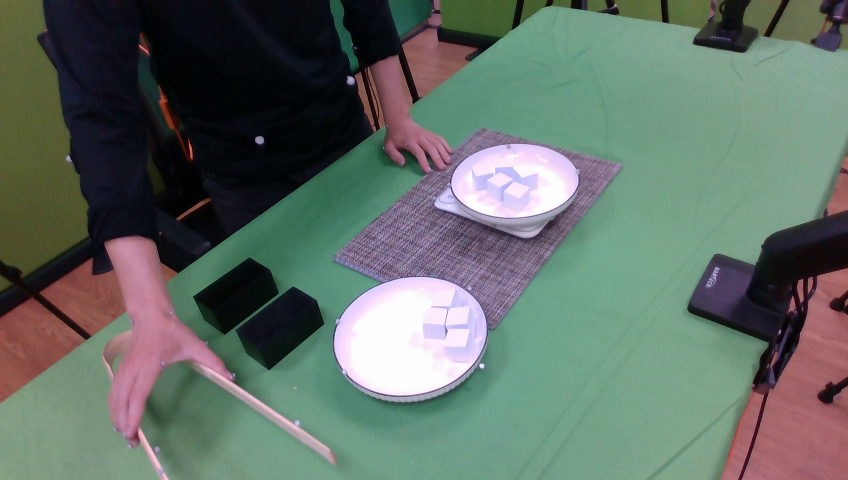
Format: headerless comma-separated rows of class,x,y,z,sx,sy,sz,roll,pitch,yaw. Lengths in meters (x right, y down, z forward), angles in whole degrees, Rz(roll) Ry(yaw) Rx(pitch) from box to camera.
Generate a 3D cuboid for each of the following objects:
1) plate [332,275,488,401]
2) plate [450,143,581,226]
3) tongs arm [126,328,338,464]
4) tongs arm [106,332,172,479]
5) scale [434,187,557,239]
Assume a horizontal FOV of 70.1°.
plate,-0.017,0.131,0.808,0.207,0.039,0.206,-4,41,4
plate,0.148,-0.087,0.986,0.209,0.038,0.208,-4,41,4
tongs arm,-0.244,0.176,0.726,0.384,0.028,0.028,17,46,34
tongs arm,-0.298,0.210,0.684,0.051,0.026,0.381,-31,39,-29
scale,0.132,-0.075,1.025,0.199,0.032,0.149,22,48,30
